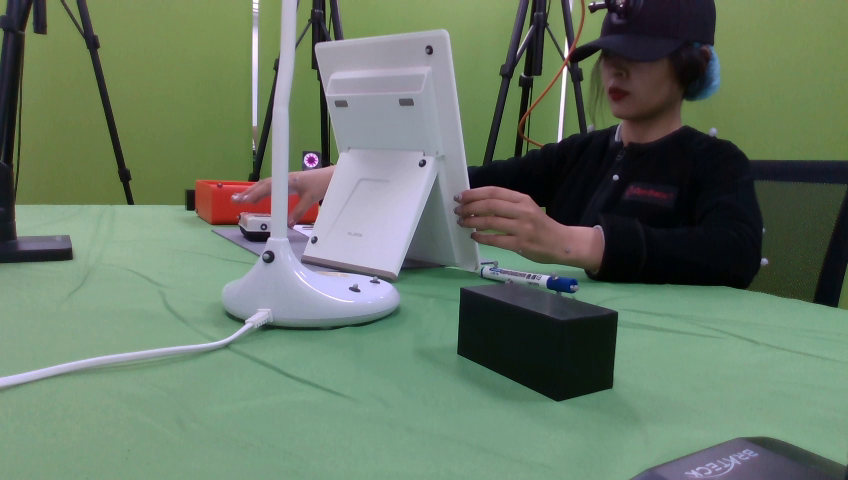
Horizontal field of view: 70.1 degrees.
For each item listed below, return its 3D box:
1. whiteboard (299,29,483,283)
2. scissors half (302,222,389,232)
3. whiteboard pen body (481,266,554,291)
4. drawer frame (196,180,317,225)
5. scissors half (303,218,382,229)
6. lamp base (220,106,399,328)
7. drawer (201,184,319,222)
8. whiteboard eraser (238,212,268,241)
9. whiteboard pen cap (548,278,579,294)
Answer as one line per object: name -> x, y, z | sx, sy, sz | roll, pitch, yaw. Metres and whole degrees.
whiteboard -> -0.074, -0.082, 0.742 | 0.216, 0.305, 0.144 | 9, 29, 38
scissors half -> -0.151, -0.024, 1.181 | 0.176, 0.013, 0.040 | -1, 20, -21
whiteboard pen body -> 0.115, 0.045, 0.695 | 0.017, 0.017, 0.140 | -3, 6, -35
drawer frame -> -0.359, -0.083, 1.292 | 0.215, 0.082, 0.200 | -2, 10, -30
scissors half -> -0.161, -0.030, 1.198 | 0.176, 0.013, 0.040 | -8, 19, -39
lamp base -> -0.101, -0.023, 0.531 | 0.160, 0.180, 0.179 | 4, 10, 10
drawer -> -0.353, -0.082, 1.296 | 0.213, 0.073, 0.193 | -2, 9, -28
whiteboard eraser -> -0.272, -0.023, 0.998 | 0.056, 0.042, 0.112 | -1, 9, -24
whiteboard pen cap -> 0.148, 0.049, 0.647 | 0.018, 0.018, 0.033 | -3, 3, -36
